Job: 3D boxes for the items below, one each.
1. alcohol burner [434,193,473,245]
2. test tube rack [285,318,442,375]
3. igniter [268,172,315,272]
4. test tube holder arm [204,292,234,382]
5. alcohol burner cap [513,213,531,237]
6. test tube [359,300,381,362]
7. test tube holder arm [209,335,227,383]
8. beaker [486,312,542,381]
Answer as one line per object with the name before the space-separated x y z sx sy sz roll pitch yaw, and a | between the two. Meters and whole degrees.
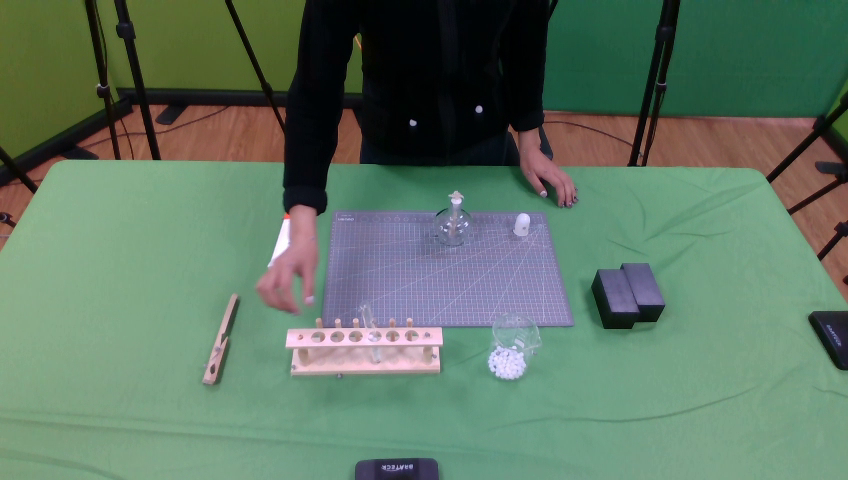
alcohol burner | 0.059 -0.047 1.180 0.078 0.120 0.077 1 48 -1
test tube rack | -0.095 0.168 0.986 0.242 0.085 0.066 0 46 -4
igniter | -0.264 -0.045 1.219 0.057 0.025 0.275 -2 45 8
test tube holder arm | -0.343 0.159 1.020 0.013 0.015 0.177 27 39 -27
alcohol burner cap | 0.200 -0.034 1.227 0.034 0.048 0.033 2 46 -2
test tube | -0.083 0.144 0.939 0.017 0.151 0.017 -3 46 3
test tube holder arm | -0.338 0.193 0.991 0.010 0.015 0.087 28 39 -26
beaker | 0.144 0.177 0.985 0.084 0.101 0.074 22 49 16
